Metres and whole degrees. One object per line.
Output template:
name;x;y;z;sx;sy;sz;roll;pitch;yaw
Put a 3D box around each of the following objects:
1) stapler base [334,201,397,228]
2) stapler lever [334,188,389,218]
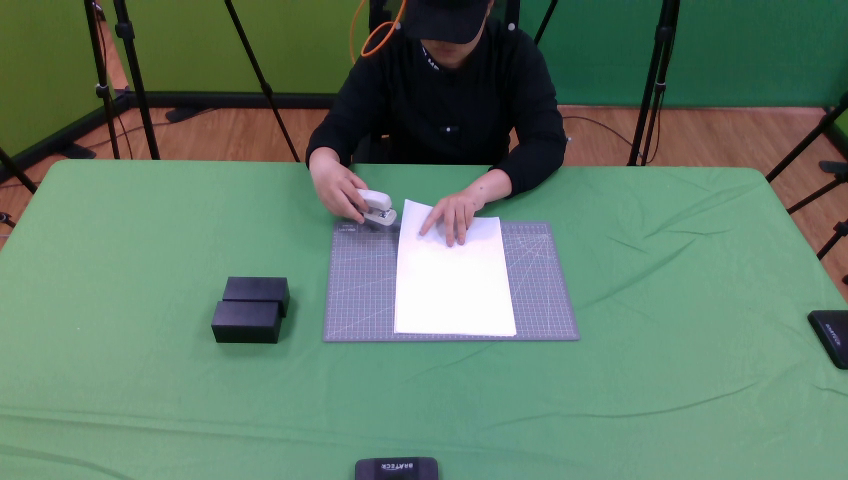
stapler base;-0.119;-0.065;1.214;0.130;0.024;0.041;22;73;13
stapler lever;-0.123;-0.074;1.189;0.118;0.040;0.027;21;73;14
